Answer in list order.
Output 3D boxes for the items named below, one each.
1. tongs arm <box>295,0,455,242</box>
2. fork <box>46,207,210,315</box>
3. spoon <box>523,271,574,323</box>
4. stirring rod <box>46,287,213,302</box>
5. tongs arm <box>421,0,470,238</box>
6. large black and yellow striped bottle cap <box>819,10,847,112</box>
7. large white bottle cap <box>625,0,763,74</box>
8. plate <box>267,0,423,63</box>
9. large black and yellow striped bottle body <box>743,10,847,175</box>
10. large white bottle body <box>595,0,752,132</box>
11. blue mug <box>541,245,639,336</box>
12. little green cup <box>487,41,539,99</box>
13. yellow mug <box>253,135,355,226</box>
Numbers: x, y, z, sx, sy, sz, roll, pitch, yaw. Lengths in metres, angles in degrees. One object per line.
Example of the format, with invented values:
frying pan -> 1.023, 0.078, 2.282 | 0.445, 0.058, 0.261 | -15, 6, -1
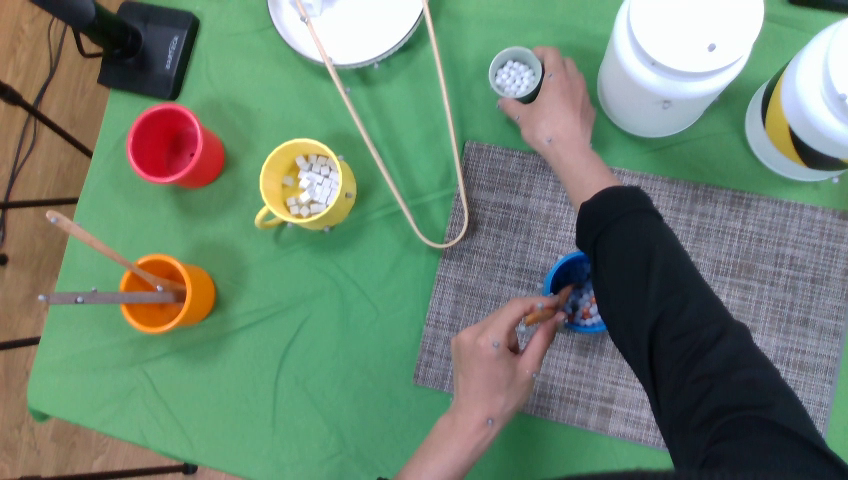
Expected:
tongs arm -> -0.068, -0.164, 0.721 | 0.051, 0.026, 0.384 | -26, 89, 1
fork -> -0.339, 0.027, 0.704 | 0.028, 0.018, 0.209 | -50, 124, -3
spoon -> 0.123, 0.056, 0.590 | 0.041, 0.194, 0.021 | -38, 85, 19
stirring rod -> -0.337, 0.063, 0.707 | 0.177, 0.006, 0.014 | 2, 78, -33
tongs arm -> 0.011, -0.194, 0.717 | 0.028, 0.028, 0.387 | -11, 90, -2
large black and yellow striped bottle cap -> 0.402, -0.155, 0.515 | 0.115, 0.019, 0.114 | -1, 86, 7
large white bottle cap -> 0.240, -0.207, 0.541 | 0.114, 0.018, 0.114 | -1, 85, 9
plate -> -0.093, -0.319, 0.758 | 0.207, 0.039, 0.207 | -1, 85, 8
large black and yellow striped bottle body -> 0.414, -0.145, 0.598 | 0.130, 0.184, 0.130 | -1, 84, 9
large white bottle body -> 0.253, -0.198, 0.624 | 0.130, 0.185, 0.130 | -1, 84, 8
blue mug -> 0.181, 0.062, 0.648 | 0.116, 0.106, 0.082 | 41, 91, 10
little green cup -> 0.106, -0.199, 0.719 | 0.061, 0.039, 0.061 | -1, 84, 9
yellow mug -> -0.152, -0.060, 0.729 | 0.131, 0.064, 0.099 | -39, 81, 4
